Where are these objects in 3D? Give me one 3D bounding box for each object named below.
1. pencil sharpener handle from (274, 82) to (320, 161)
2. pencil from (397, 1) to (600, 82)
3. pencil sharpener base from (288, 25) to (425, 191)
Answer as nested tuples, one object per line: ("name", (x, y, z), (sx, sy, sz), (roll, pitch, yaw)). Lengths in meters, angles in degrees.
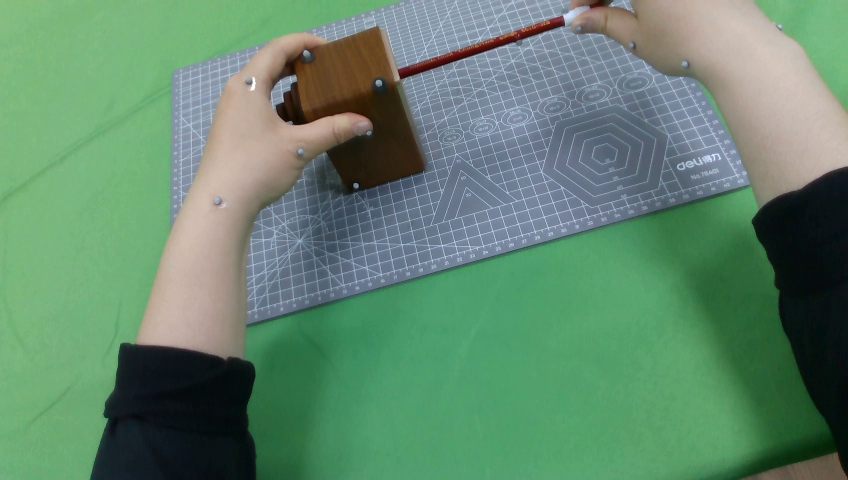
("pencil sharpener handle", (-0.101, -0.085, 0.456), (0.030, 0.068, 0.035), (-18, 58, 3))
("pencil", (0.033, -0.135, 0.435), (0.194, 0.012, 0.012), (-19, 60, 3))
("pencil sharpener base", (-0.050, -0.096, 0.464), (0.076, 0.108, 0.061), (-18, 60, 3))
